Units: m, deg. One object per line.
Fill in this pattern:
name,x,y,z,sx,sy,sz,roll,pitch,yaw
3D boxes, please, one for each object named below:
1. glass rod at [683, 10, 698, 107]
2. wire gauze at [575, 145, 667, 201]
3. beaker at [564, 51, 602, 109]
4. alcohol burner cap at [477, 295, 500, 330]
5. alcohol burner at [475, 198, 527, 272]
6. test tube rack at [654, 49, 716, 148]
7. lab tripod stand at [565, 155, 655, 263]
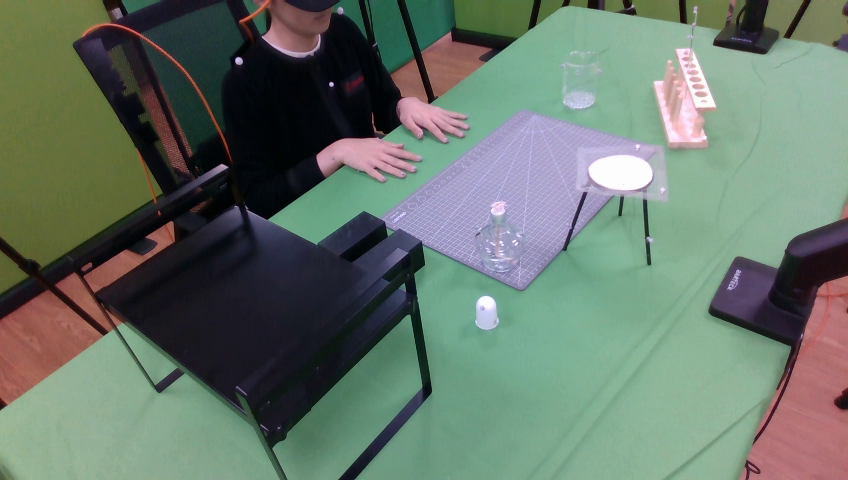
glass rod,0.501,-0.336,1.139,0.008,0.201,0.008,-8,43,8
wire gauze,0.279,-0.100,0.861,0.124,0.011,0.121,5,43,14
beaker,0.326,-0.330,1.250,0.074,0.101,0.084,4,41,13
alcohol burner cap,0.089,0.097,0.833,0.034,0.048,0.033,-4,42,4
alcohol burner,0.113,-0.012,0.897,0.078,0.119,0.077,-6,40,6
test tube rack,0.502,-0.281,1.176,0.066,0.085,0.241,2,42,11
lab tripod stand,0.285,-0.046,0.901,0.148,0.132,0.147,-5,42,5
